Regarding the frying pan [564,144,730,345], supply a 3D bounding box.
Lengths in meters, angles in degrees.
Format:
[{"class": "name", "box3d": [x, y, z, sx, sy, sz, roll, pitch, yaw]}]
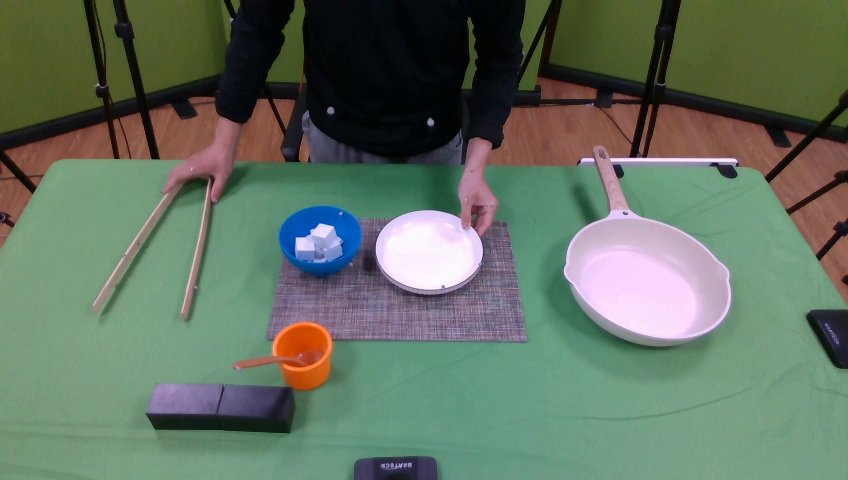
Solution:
[{"class": "frying pan", "box3d": [0.396, -0.008, 1.179, 0.307, 0.103, 0.484, 0, 55, -5]}]

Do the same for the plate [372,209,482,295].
[{"class": "plate", "box3d": [0.005, 0.027, 1.154, 0.208, 0.039, 0.206, 2, 47, -2]}]

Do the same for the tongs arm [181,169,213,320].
[{"class": "tongs arm", "box3d": [-0.437, -0.006, 1.165, 0.028, 0.028, 0.385, -5, 46, -5]}]

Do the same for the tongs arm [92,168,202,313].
[{"class": "tongs arm", "box3d": [-0.517, -0.012, 1.160, 0.051, 0.026, 0.382, 7, 45, 1]}]

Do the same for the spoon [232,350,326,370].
[{"class": "spoon", "box3d": [-0.216, 0.182, 0.919, 0.041, 0.194, 0.021, 43, 102, 27]}]

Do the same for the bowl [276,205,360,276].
[{"class": "bowl", "box3d": [-0.193, 0.013, 1.125, 0.151, 0.077, 0.150, 2, 47, -2]}]
